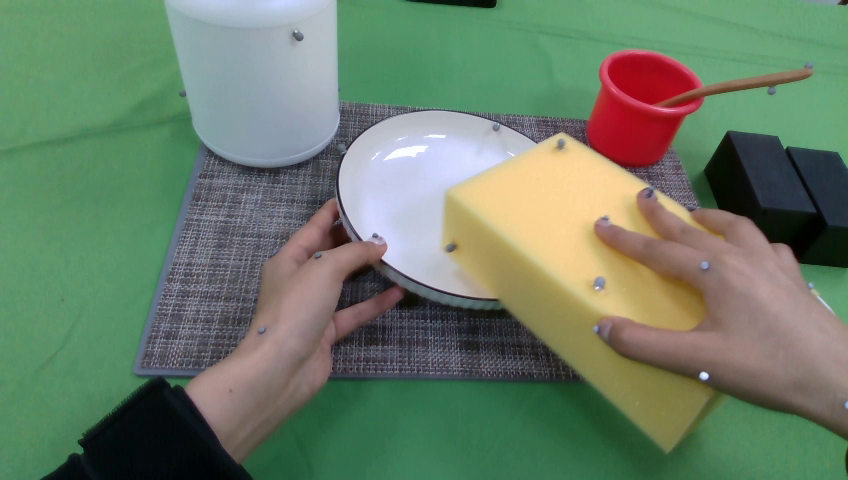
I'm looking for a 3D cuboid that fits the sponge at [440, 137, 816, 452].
[{"bbox_3d":[0.121,0.021,0.404,0.118,0.061,0.205,-29,52,-28],"label":"sponge"}]

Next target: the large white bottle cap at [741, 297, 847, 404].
[{"bbox_3d":[0.272,0.072,0.472,0.115,0.018,0.113,6,50,-7],"label":"large white bottle cap"}]

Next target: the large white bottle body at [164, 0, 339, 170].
[{"bbox_3d":[-0.137,-0.165,0.499,0.131,0.186,0.129,4,49,-4],"label":"large white bottle body"}]

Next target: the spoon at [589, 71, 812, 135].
[{"bbox_3d":[0.240,-0.124,0.550,0.041,0.193,0.022,-48,116,-37],"label":"spoon"}]

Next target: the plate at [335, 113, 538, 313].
[{"bbox_3d":[0.031,-0.024,0.493,0.210,0.038,0.207,8,49,-9],"label":"plate"}]
